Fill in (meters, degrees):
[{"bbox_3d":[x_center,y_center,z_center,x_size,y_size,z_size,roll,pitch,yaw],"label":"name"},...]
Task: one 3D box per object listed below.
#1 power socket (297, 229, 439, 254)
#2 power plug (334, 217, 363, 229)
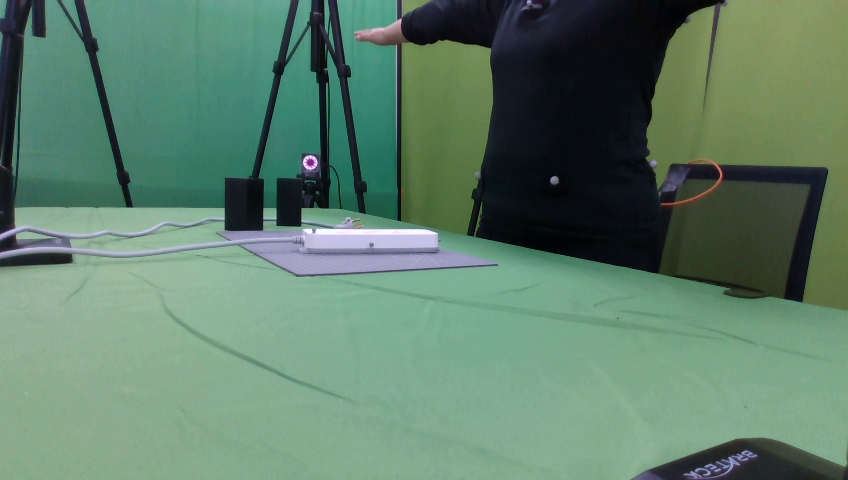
[{"bbox_3d":[-0.084,0.001,0.942,0.228,0.032,0.072,0,7,-20],"label":"power socket"},{"bbox_3d":[-0.143,-0.031,1.129,0.053,0.035,0.072,-16,22,-9],"label":"power plug"}]
